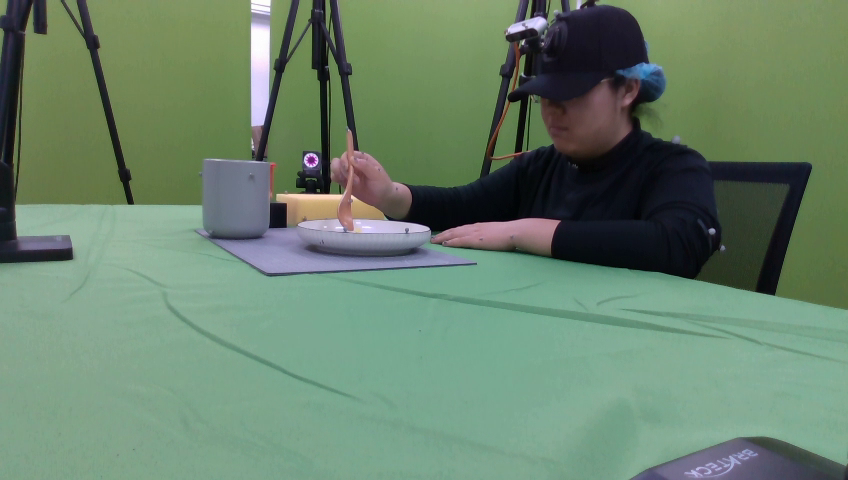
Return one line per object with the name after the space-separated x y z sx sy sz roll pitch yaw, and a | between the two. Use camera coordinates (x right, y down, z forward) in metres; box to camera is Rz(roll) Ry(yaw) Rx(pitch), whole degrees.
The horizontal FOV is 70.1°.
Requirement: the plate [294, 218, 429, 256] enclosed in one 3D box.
-0.096 -0.005 0.936 0.208 0.039 0.207 3 7 0 | plate

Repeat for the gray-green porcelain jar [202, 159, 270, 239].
-0.310 -0.068 0.999 0.106 0.126 0.106 3 8 0 | gray-green porcelain jar

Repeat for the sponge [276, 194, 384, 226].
-0.203 -0.067 1.312 0.208 0.061 0.117 -3 9 -35 | sponge

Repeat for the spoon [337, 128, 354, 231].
-0.125 -0.103 1.000 0.021 0.193 0.042 -10 -27 27 | spoon
